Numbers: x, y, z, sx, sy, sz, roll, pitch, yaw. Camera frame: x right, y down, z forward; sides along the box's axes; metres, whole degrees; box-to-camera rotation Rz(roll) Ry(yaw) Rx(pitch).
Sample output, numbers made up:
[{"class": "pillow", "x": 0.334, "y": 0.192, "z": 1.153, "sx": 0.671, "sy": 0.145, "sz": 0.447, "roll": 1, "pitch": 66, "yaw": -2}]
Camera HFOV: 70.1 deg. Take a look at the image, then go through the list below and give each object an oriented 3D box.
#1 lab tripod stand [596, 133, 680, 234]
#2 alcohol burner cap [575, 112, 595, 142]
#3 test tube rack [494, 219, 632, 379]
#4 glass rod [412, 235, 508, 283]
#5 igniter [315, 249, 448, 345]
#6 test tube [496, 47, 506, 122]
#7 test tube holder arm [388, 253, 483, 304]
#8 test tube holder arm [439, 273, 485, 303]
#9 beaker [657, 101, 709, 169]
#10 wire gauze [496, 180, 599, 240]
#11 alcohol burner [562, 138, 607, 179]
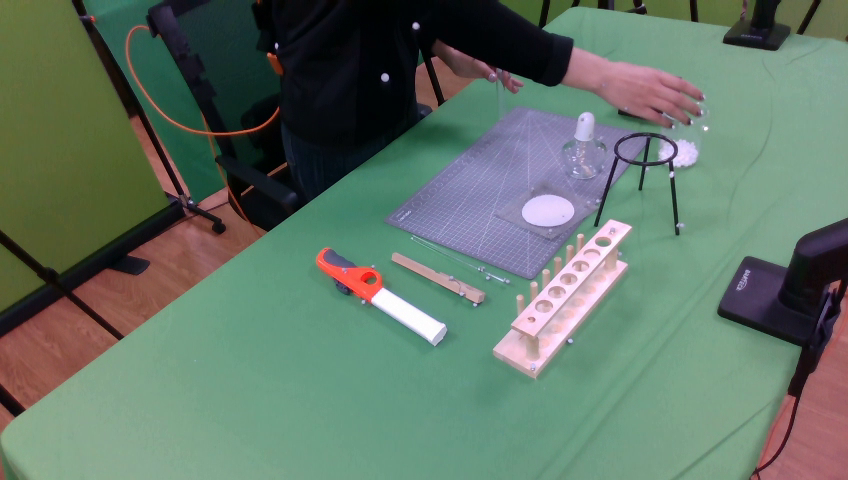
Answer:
[{"class": "lab tripod stand", "x": 0.338, "y": -0.090, "z": 0.940, "sx": 0.148, "sy": 0.132, "sz": 0.147, "roll": -7, "pitch": 38, "yaw": 6}, {"class": "alcohol burner cap", "x": 0.276, "y": -0.194, "z": 1.028, "sx": 0.034, "sy": 0.048, "sz": 0.033, "roll": -2, "pitch": 45, "yaw": 3}, {"class": "test tube rack", "x": 0.191, "y": 0.068, "z": 0.818, "sx": 0.066, "sy": 0.085, "sz": 0.243, "roll": 25, "pitch": 51, "yaw": 35}, {"class": "glass rod", "x": 0.052, "y": 0.028, "z": 0.951, "sx": 0.198, "sy": 0.008, "sz": 0.008, "roll": 26, "pitch": 52, "yaw": 37}, {"class": "igniter", "x": -0.074, "y": 0.078, "z": 0.902, "sx": 0.274, "sy": 0.025, "sz": 0.057, "roll": 28, "pitch": 63, "yaw": 36}, {"class": "test tube", "x": 0.144, "y": -0.287, "z": 1.131, "sx": 0.017, "sy": 0.151, "sz": 0.017, "roll": -5, "pitch": 43, "yaw": 5}, {"class": "test tube holder arm", "x": 0.014, "y": 0.056, "z": 0.915, "sx": 0.177, "sy": 0.015, "sz": 0.013, "roll": 23, "pitch": 13, "yaw": 32}, {"class": "test tube holder arm", "x": 0.052, "y": 0.071, "z": 0.896, "sx": 0.087, "sy": 0.015, "sz": 0.010, "roll": 24, "pitch": 13, "yaw": 33}, {"class": "beaker", "x": 0.449, "y": -0.183, "z": 1.054, "sx": 0.073, "sy": 0.101, "sz": 0.084, "roll": 16, "pitch": 45, "yaw": 27}, {"class": "wire gauze", "x": 0.206, "y": -0.050, "z": 1.012, "sx": 0.125, "sy": 0.011, "sz": 0.120, "roll": -34, "pitch": 45, "yaw": -26}, {"class": "alcohol burner", "x": 0.280, "y": -0.167, "z": 1.052, "sx": 0.078, "sy": 0.119, "sz": 0.077, "roll": -5, "pitch": 38, "yaw": 4}]
